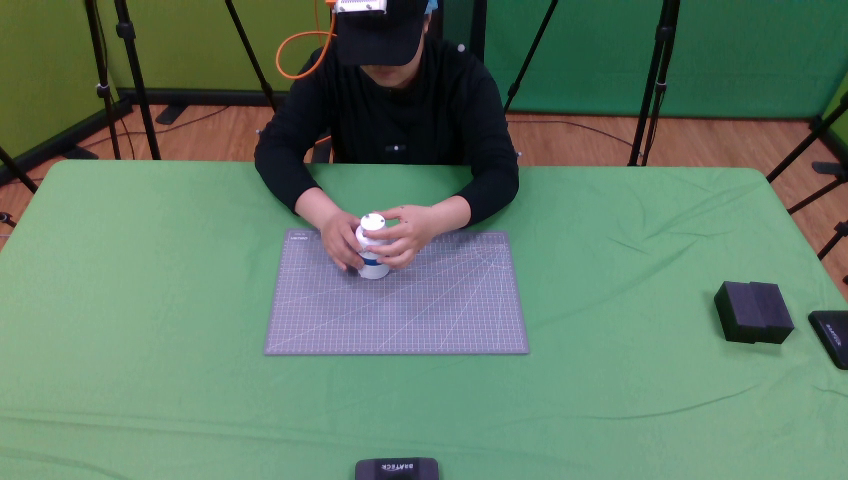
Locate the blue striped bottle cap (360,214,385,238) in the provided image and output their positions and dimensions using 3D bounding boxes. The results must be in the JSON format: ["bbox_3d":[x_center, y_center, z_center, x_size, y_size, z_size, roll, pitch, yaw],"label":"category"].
[{"bbox_3d":[-0.092,-0.026,1.069,0.044,0.021,0.044,1,43,-1],"label":"blue striped bottle cap"}]

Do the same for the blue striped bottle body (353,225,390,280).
[{"bbox_3d":[-0.096,0.012,1.108,0.063,0.121,0.062,5,45,-5],"label":"blue striped bottle body"}]
